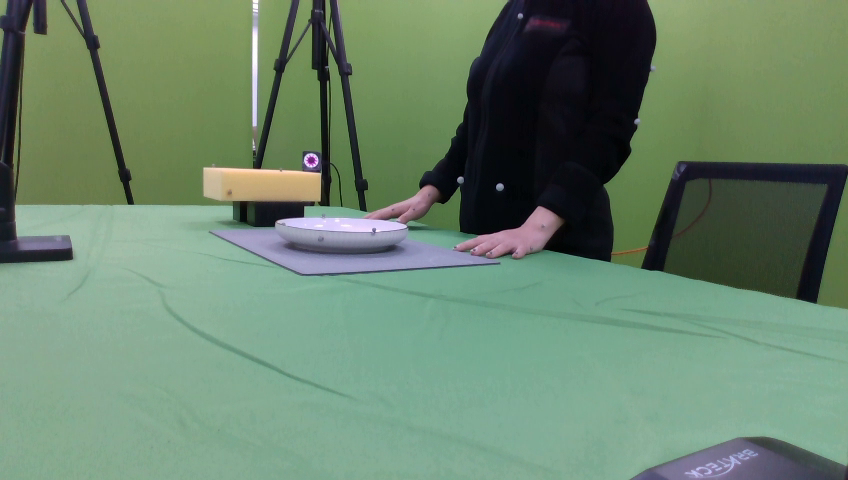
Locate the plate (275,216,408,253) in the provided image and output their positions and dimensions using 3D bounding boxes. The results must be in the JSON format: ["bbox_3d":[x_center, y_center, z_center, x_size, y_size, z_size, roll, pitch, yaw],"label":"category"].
[{"bbox_3d":[-0.129,-0.009,0.954,0.209,0.038,0.209,2,7,0],"label":"plate"}]

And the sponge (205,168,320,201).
[{"bbox_3d":[-0.332,-0.114,1.247,0.208,0.061,0.117,-3,9,-37],"label":"sponge"}]
